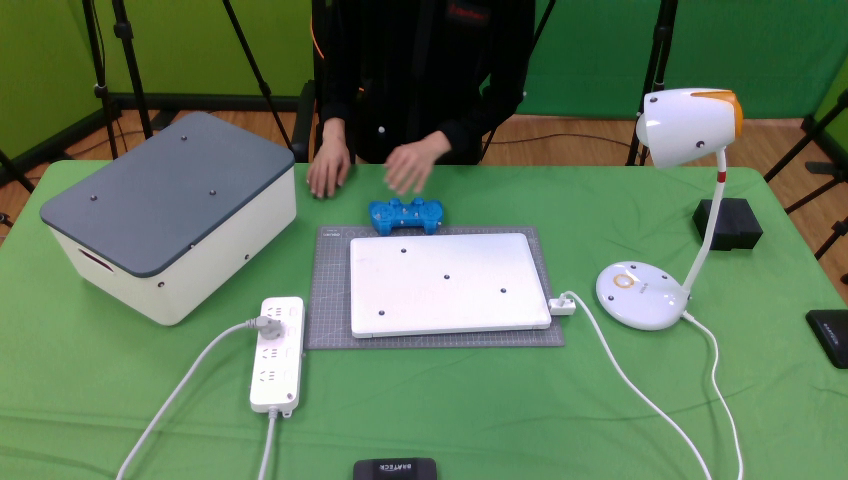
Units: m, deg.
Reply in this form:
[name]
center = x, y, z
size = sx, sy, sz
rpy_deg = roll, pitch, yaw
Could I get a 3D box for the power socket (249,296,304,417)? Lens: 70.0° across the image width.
[power socket]
center = -0.239, 0.182, 0.996
size = 0.072, 0.033, 0.225
rpy_deg = -2, 47, -5

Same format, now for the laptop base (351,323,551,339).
[laptop base]
center = 0.040, 0.080, 1.125
size = 0.355, 0.023, 0.234
rpy_deg = -2, 43, -6

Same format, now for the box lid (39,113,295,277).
[box lid]
center = -0.434, -0.096, 1.056
size = 0.262, 0.015, 0.370
rpy_deg = 25, 48, 18

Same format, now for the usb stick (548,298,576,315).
[usb stick]
center = 0.240, 0.120, 1.086
size = 0.059, 0.027, 0.021
rpy_deg = -2, 52, -2

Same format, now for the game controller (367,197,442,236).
[game controller]
center = -0.037, -0.057, 1.231
size = 0.155, 0.052, 0.096
rpy_deg = -2, 49, -5

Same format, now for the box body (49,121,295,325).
[box body]
center = -0.437, -0.046, 1.110
size = 0.253, 0.161, 0.363
rpy_deg = 24, 49, 19

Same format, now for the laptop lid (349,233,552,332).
[laptop lid]
center = 0.040, 0.071, 1.118
size = 0.357, 0.013, 0.240
rpy_deg = -1, 44, -5

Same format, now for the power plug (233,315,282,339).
[power plug]
center = -0.271, 0.144, 0.999
size = 0.072, 0.053, 0.035
rpy_deg = 6, 47, 3

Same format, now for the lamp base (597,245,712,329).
[lamp base]
center = 0.418, 0.051, 1.071
size = 0.179, 0.181, 0.160
rpy_deg = 22, 49, 13

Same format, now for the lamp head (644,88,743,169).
[lamp head]
center = 0.380, -0.161, 0.851
size = 0.122, 0.113, 0.112
rpy_deg = -4, 42, 25
